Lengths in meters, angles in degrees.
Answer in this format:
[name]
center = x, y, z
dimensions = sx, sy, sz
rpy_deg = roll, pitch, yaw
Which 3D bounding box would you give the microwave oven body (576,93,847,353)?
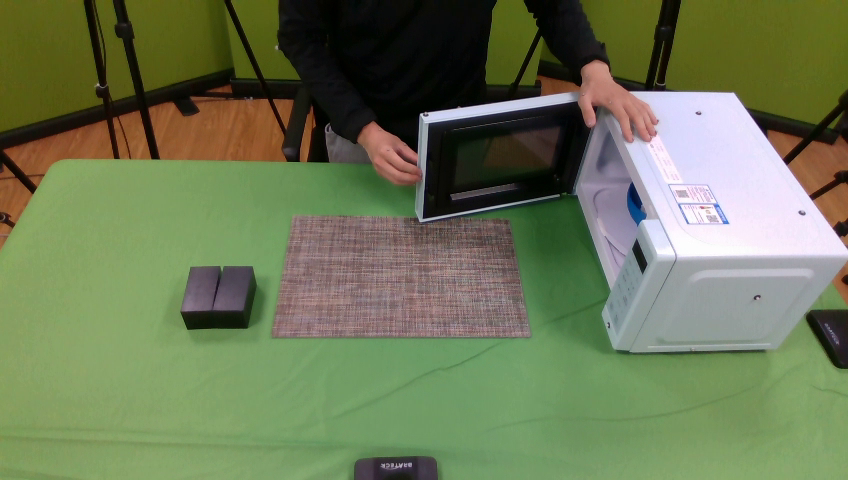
[microwave oven body]
center = 0.475, -0.041, 1.109
dimensions = 0.326, 0.261, 0.438
rpy_deg = -1, 45, -4

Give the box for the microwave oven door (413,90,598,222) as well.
[microwave oven door]
center = 0.156, -0.164, 1.197
dimensions = 0.356, 0.245, 0.039
rpy_deg = -11, 48, -15

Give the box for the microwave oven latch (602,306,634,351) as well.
[microwave oven latch]
center = 0.332, 0.153, 1.043
dimensions = 0.030, 0.029, 0.078
rpy_deg = 0, 45, -4
